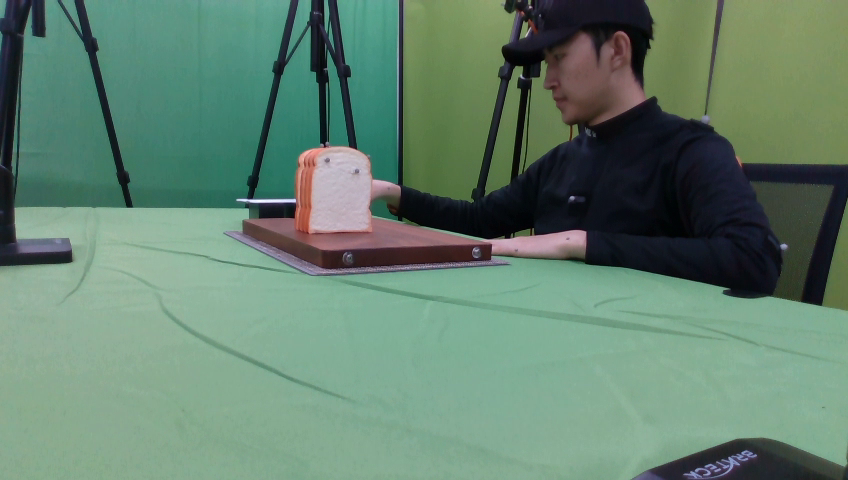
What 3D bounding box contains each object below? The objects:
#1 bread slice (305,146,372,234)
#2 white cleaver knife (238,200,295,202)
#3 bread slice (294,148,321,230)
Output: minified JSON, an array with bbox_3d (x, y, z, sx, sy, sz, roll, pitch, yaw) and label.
[{"bbox_3d":[-0.131,-0.076,0.924,0.107,0.134,0.018,-5,10,-32],"label":"bread slice"},{"bbox_3d":[-0.263,-0.087,1.300,0.065,0.021,0.288,9,8,42],"label":"white cleaver knife"},{"bbox_3d":[-0.158,-0.081,0.970,0.105,0.131,0.019,-1,2,-33],"label":"bread slice"}]
